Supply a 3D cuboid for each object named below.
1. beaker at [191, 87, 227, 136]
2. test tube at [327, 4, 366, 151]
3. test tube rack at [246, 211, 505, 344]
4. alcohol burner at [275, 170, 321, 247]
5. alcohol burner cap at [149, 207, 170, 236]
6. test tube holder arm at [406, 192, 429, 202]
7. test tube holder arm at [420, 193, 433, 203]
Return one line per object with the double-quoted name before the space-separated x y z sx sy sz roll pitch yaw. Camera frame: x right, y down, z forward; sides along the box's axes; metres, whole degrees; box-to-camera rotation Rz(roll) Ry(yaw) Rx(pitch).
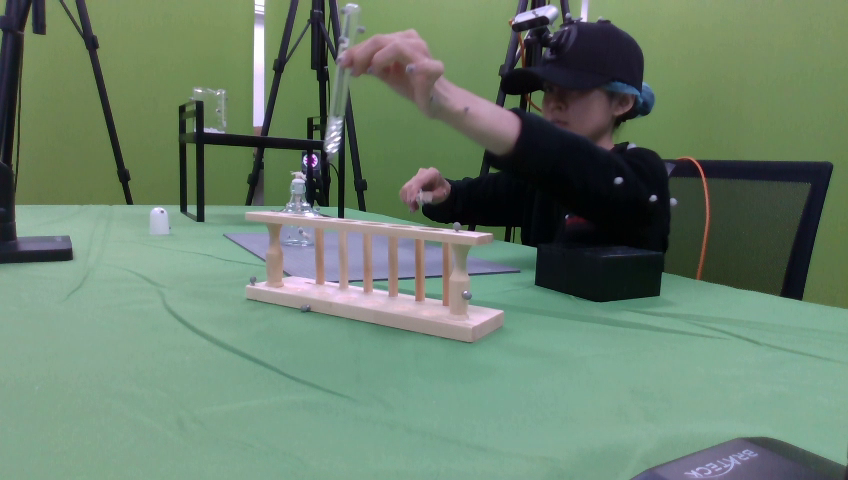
"beaker" -0.476 -0.284 1.345 0.074 0.100 0.083 -3 10 -37
"test tube" -0.080 -0.165 0.616 0.017 0.150 0.017 10 3 0
"test tube rack" -0.049 0.025 0.547 0.241 0.085 0.067 7 8 29
"alcohol burner" -0.199 -0.049 0.948 0.078 0.119 0.078 1 8 0
"alcohol burner cap" -0.445 -0.032 1.019 0.034 0.048 0.034 4 8 0
"test tube holder arm" -0.012 -0.072 1.027 0.013 0.015 0.178 19 -1 -12
"test tube holder arm" 0.001 -0.068 0.984 0.010 0.015 0.087 19 -1 -10
